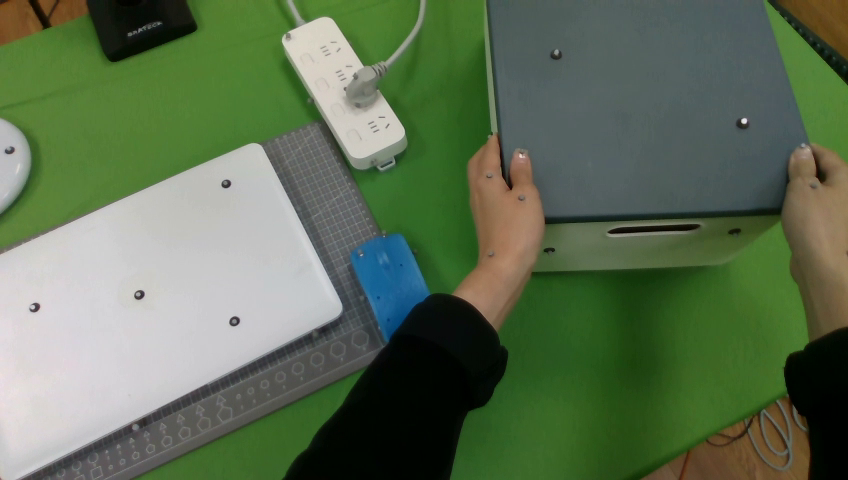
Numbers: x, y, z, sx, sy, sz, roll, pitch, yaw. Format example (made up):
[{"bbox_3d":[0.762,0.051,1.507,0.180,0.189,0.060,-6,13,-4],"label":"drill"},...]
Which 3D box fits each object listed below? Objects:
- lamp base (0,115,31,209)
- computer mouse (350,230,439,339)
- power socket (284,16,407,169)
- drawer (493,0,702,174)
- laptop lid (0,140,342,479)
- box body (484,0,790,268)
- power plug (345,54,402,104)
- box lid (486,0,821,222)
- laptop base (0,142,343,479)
[{"bbox_3d":[-0.552,-0.117,0.632,0.178,0.181,0.160,21,68,14],"label":"lamp base"},{"bbox_3d":[-0.032,0.042,0.621,0.063,0.041,0.116,-22,64,-6],"label":"computer mouse"},{"bbox_3d":[-0.096,-0.181,0.725,0.072,0.033,0.225,-27,68,-11],"label":"power socket"},{"bbox_3d":[0.186,-0.182,0.698,0.194,0.074,0.209,-5,57,2],"label":"drawer"},{"bbox_3d":[-0.288,0.055,0.624,0.357,0.013,0.240,-25,71,-9],"label":"laptop lid"},{"bbox_3d":[0.196,-0.158,0.634,0.254,0.161,0.361,-2,66,1],"label":"box body"},{"bbox_3d":[-0.055,-0.178,0.698,0.072,0.053,0.035,-17,66,-7],"label":"power plug"},{"bbox_3d":[0.193,-0.190,0.567,0.263,0.015,0.368,-3,67,1],"label":"box lid"},{"bbox_3d":[-0.289,0.058,0.636,0.354,0.023,0.234,-27,72,-9],"label":"laptop base"}]
